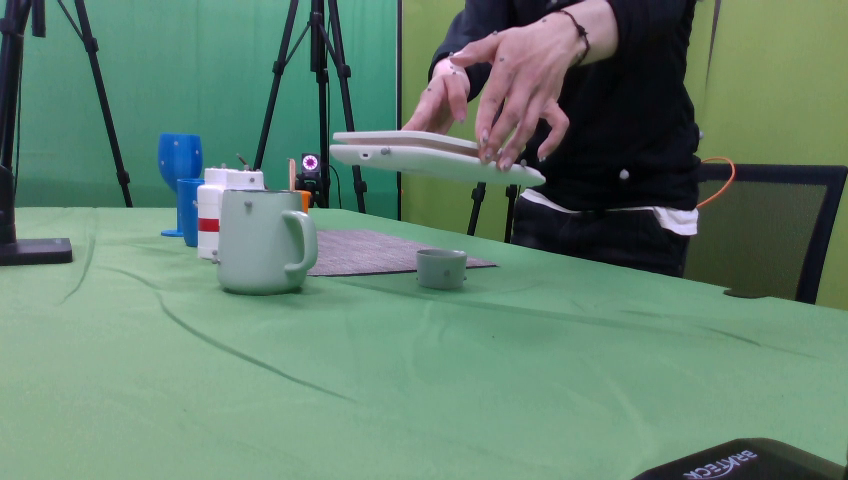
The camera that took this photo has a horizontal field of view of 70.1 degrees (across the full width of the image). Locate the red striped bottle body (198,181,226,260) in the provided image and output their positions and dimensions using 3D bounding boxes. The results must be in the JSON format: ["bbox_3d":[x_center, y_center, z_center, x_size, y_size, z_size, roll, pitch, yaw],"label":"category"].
[{"bbox_3d":[-0.275,-0.035,0.827,0.063,0.119,0.063,1,6,0],"label":"red striped bottle body"}]

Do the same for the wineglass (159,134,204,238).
[{"bbox_3d":[-0.415,-0.093,1.039,0.074,0.172,0.073,2,7,0],"label":"wineglass"}]

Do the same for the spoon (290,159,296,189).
[{"bbox_3d":[-0.273,-0.102,1.252,0.042,0.193,0.021,7,-38,-17],"label":"spoon"}]

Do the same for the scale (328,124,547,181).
[{"bbox_3d":[0.017,-0.088,0.629,0.202,0.031,0.148,2,5,-43],"label":"scale"}]

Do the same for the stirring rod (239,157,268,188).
[{"bbox_3d":[-0.309,-0.098,1.209,0.006,0.177,0.014,-39,29,-5],"label":"stirring rod"}]

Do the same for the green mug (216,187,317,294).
[{"bbox_3d":[-0.157,0.000,0.629,0.124,0.105,0.093,7,9,37],"label":"green mug"}]

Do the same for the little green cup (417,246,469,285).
[{"bbox_3d":[0.021,0.029,0.702,0.061,0.038,0.061,1,7,0],"label":"little green cup"}]

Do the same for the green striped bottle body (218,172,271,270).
[{"bbox_3d":[-0.223,-0.025,0.755,0.063,0.119,0.063,1,7,0],"label":"green striped bottle body"}]

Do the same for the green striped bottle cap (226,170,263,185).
[{"bbox_3d":[-0.222,-0.077,0.748,0.044,0.020,0.044,1,7,0],"label":"green striped bottle cap"}]

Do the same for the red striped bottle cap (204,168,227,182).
[{"bbox_3d":[-0.275,-0.087,0.821,0.044,0.017,0.044,4,6,0],"label":"red striped bottle cap"}]

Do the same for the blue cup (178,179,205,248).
[{"bbox_3d":[-0.335,-0.041,0.936,0.093,0.100,0.092,3,9,0],"label":"blue cup"}]
